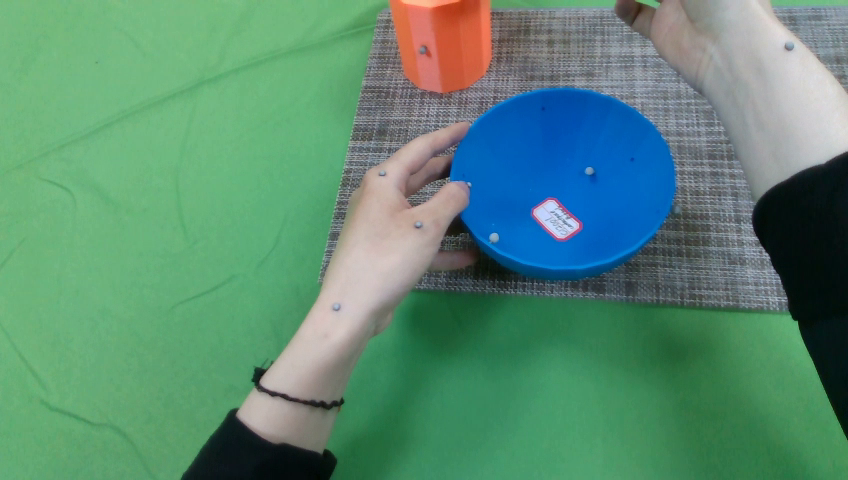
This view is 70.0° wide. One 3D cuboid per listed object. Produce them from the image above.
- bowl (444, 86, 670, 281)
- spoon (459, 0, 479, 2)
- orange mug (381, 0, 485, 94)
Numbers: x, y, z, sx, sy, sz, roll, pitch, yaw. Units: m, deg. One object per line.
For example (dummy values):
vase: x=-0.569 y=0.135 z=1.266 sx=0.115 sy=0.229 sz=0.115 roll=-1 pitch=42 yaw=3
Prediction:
bowl: x=0.093 y=-0.029 z=0.443 sx=0.151 sy=0.077 sz=0.150 roll=-3 pitch=62 yaw=6
spoon: x=0.101 y=-0.202 z=0.412 sx=0.193 sy=0.022 sz=0.041 roll=-9 pitch=70 yaw=26
orange mug: x=0.014 y=-0.210 z=0.539 sx=0.083 sy=0.101 sz=0.125 roll=14 pitch=69 yaw=15
